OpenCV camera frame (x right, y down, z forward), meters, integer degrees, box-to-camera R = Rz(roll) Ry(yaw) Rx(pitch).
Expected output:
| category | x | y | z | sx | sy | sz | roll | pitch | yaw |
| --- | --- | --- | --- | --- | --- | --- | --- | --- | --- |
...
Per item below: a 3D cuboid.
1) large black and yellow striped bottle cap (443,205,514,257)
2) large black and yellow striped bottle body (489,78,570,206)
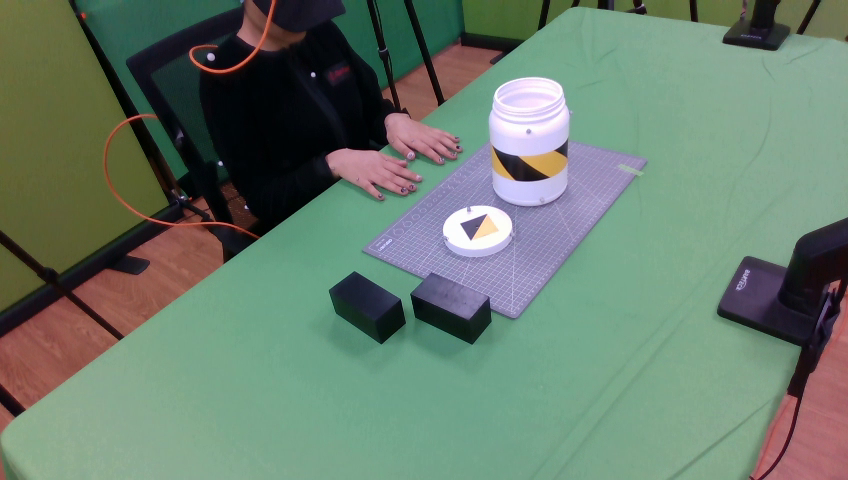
| category | x | y | z | sx | sy | sz | roll | pitch | yaw |
| --- | --- | --- | --- | --- | --- | --- | --- | --- | --- |
| large black and yellow striped bottle cap | 0.088 | -0.016 | 0.986 | 0.115 | 0.019 | 0.114 | -4 | 41 | 4 |
| large black and yellow striped bottle body | 0.177 | -0.164 | 1.012 | 0.131 | 0.185 | 0.130 | -5 | 40 | 5 |
